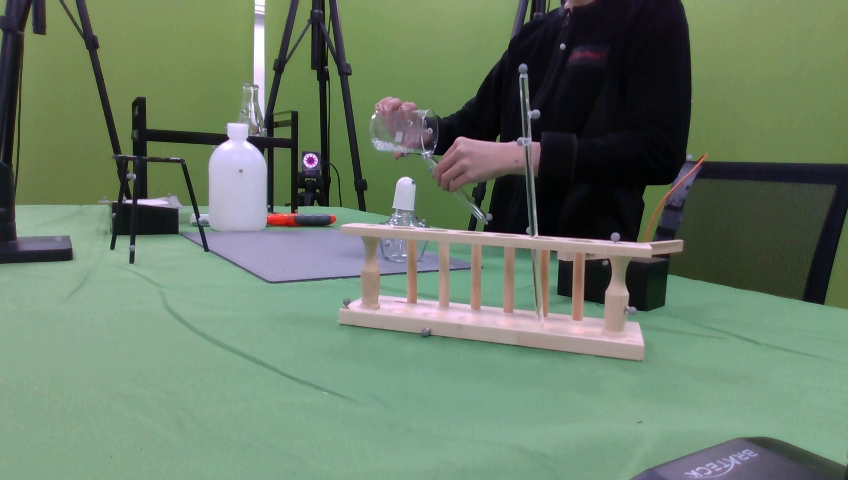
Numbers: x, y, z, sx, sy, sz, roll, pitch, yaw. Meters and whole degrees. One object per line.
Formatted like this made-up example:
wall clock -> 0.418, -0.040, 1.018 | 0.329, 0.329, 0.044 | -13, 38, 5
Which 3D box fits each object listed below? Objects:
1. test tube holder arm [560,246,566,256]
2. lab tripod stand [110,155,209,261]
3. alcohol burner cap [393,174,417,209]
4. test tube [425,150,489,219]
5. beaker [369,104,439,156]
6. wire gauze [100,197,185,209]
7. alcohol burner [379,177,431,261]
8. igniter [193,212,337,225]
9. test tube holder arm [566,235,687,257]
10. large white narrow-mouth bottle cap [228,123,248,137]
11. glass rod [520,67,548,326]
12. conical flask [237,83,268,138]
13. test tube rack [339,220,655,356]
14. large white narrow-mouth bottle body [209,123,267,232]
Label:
test tube holder arm -> 0.173, 0.007, 0.611 | 0.088, 0.015, 0.010 | -3, 9, -30
lab tripod stand -> -0.361, -0.046, 0.806 | 0.148, 0.131, 0.148 | 2, 5, 0
alcohol burner cap -> -0.025, -0.067, 0.834 | 0.034, 0.048, 0.034 | 8, 7, -1
test tube -> 0.052, -0.090, 0.969 | 0.150, 0.017, 0.017 | 49, 27, 18
beaker -> -0.035, -0.183, 1.004 | 0.100, 0.084, 0.074 | 6, 7, 22
wire gauze -> -0.469, -0.062, 1.008 | 0.126, 0.011, 0.121 | -2, 8, -25
alcohol burner -> -0.027, -0.031, 0.838 | 0.078, 0.119, 0.078 | 0, 6, 0
igniter -> -0.311, -0.043, 1.203 | 0.278, 0.025, 0.057 | -1, -5, -25
test tube holder arm -> 0.215, 0.006, 0.630 | 0.179, 0.015, 0.013 | -3, 9, -31
large white narrow-mouth bottle cap -> -0.338, -0.199, 1.097 | 0.038, 0.024, 0.037 | 2, 8, 0
glass rod -> 0.084, -0.029, 0.458 | 0.008, 0.199, 0.008 | -6, 11, 2
conical flask -> -0.402, -0.299, 1.406 | 0.075, 0.122, 0.075 | 2, 7, 0
test tube rack -> 0.056, 0.032, 0.495 | 0.242, 0.085, 0.067 | 4, 7, 15
large white narrow-mouth bottle body -> -0.340, -0.115, 1.109 | 0.102, 0.194, 0.102 | 2, 8, 0
